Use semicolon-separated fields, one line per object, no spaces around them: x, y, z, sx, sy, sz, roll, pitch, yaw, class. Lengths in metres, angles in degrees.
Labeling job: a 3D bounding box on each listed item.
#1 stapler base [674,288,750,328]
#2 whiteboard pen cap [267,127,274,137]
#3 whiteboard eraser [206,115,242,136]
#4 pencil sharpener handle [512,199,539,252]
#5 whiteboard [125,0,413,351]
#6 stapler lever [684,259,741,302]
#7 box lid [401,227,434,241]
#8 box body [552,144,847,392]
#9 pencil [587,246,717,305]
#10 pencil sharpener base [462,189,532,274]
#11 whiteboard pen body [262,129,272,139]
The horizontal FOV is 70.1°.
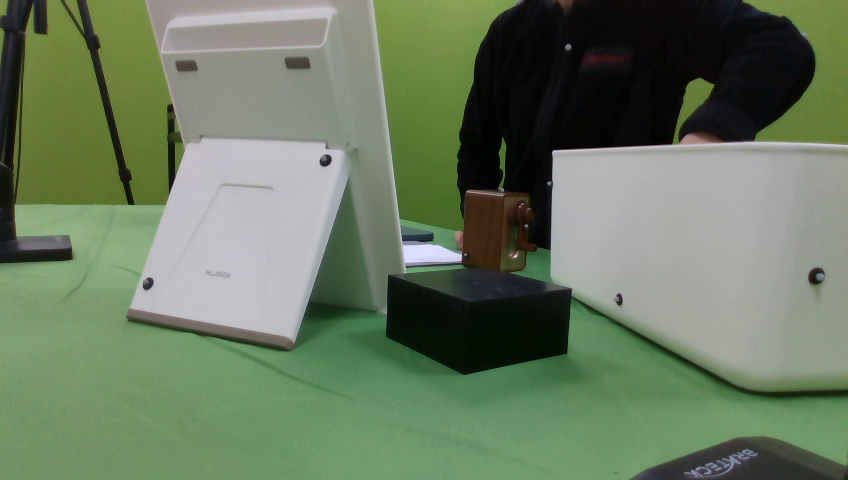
0.281;0.061;0.586;0.041;0.024;0.131;5;7;39;stapler base
-0.340;-0.239;1.337;0.018;0.018;0.033;1;-1;-14;whiteboard pen cap
-0.438;-0.249;1.320;0.056;0.042;0.112;-3;9;-30;whiteboard eraser
0.135;-0.018;0.778;0.036;0.067;0.030;-2;9;-44;pencil sharpener handle
-0.151;-0.050;0.471;0.216;0.305;0.144;6;27;24;whiteboard
0.281;0.035;0.585;0.026;0.040;0.119;5;6;39;stapler lever
-0.196;-0.015;1.105;0.373;0.015;0.262;-1;7;-32;box lid
0.290;0.002;0.549;0.255;0.160;0.363;2;7;-10;box body
0.248;0.034;0.644;0.195;0.012;0.012;-18;16;-25;pencil
0.099;-0.012;0.815;0.062;0.107;0.076;-3;10;-44;pencil sharpener base
-0.361;-0.245;1.393;0.017;0.017;0.140;0;5;-20;whiteboard pen body
